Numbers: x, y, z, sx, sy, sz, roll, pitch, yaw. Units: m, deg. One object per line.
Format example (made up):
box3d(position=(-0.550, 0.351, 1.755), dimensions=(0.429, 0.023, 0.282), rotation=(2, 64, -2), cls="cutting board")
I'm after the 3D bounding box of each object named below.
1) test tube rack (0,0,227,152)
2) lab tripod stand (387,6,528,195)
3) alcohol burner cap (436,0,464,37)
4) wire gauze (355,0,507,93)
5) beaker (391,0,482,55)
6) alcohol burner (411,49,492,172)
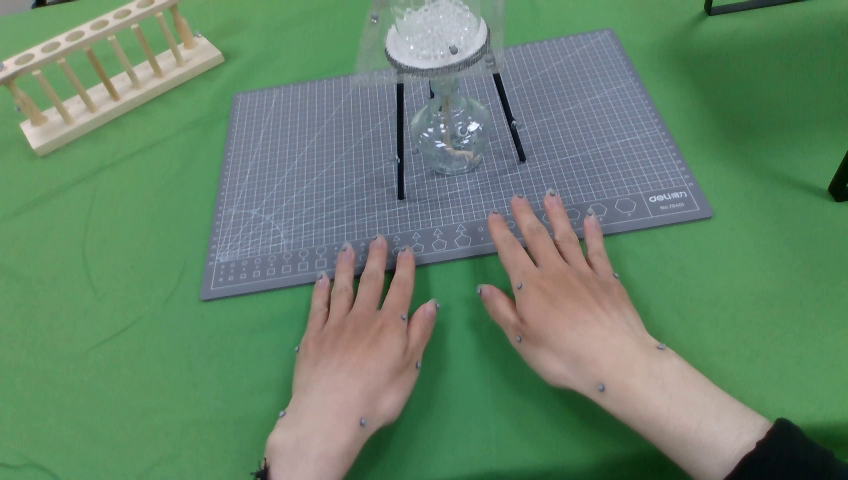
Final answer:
box3d(position=(-0.369, -0.209, 0.717), dimensions=(0.242, 0.086, 0.066), rotation=(-35, 54, -18), cls="test tube rack")
box3d(position=(0.020, -0.127, 0.551), dimensions=(0.148, 0.133, 0.147), rotation=(-4, 53, 6), cls="lab tripod stand")
box3d(position=(0.030, -0.274, 0.733), dimensions=(0.034, 0.048, 0.033), rotation=(-5, 52, 7), cls="alcohol burner cap")
box3d(position=(0.008, -0.172, 0.504), dimensions=(0.121, 0.011, 0.124), rotation=(-2, 55, 10), cls="wire gauze")
box3d(position=(0.004, -0.203, 0.466), dimensions=(0.083, 0.101, 0.074), rotation=(23, 61, 26), cls="beaker")
box3d(position=(0.024, -0.122, 0.560), dimensions=(0.078, 0.120, 0.077), rotation=(-5, 49, 7), cls="alcohol burner")
